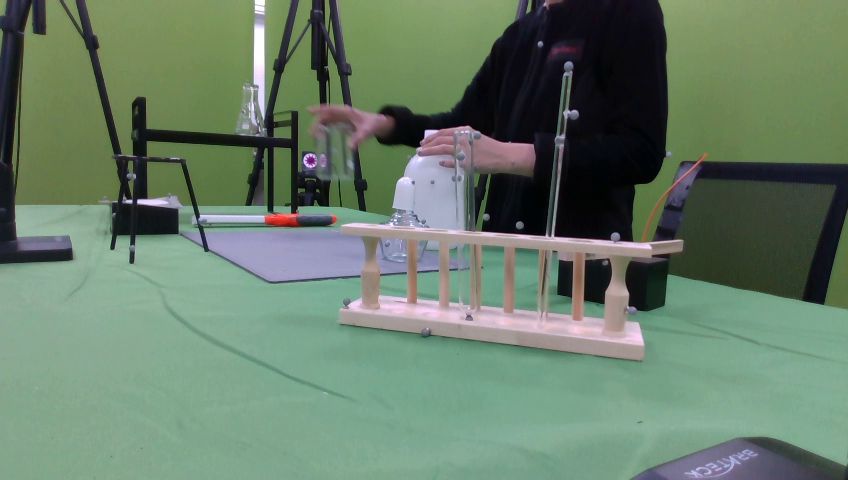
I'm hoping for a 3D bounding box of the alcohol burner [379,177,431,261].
[{"bbox_3d":[-0.027,-0.031,0.838,0.078,0.119,0.078,0,6,0],"label":"alcohol burner"}]

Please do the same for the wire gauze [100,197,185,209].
[{"bbox_3d":[-0.469,-0.062,1.008,0.126,0.011,0.121,-2,8,-25],"label":"wire gauze"}]

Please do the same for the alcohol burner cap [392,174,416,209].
[{"bbox_3d":[-0.025,-0.067,0.834,0.034,0.048,0.034,8,7,-1],"label":"alcohol burner cap"}]

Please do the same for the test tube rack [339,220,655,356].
[{"bbox_3d":[0.056,0.032,0.495,0.242,0.085,0.067,4,7,15],"label":"test tube rack"}]

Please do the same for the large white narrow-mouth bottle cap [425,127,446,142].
[{"bbox_3d":[0.018,-0.171,0.987,0.038,0.024,0.037,2,7,0],"label":"large white narrow-mouth bottle cap"}]

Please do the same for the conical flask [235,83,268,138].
[{"bbox_3d":[-0.401,-0.299,1.406,0.075,0.122,0.075,2,7,0],"label":"conical flask"}]

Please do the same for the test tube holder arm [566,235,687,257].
[{"bbox_3d":[0.215,0.006,0.630,0.179,0.015,0.013,-3,9,-31],"label":"test tube holder arm"}]

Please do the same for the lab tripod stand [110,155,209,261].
[{"bbox_3d":[-0.361,-0.046,0.806,0.148,0.131,0.148,2,5,0],"label":"lab tripod stand"}]

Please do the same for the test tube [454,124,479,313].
[{"bbox_3d":[0.034,-0.015,0.476,0.017,0.150,0.017,-2,9,1],"label":"test tube"}]

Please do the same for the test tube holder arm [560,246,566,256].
[{"bbox_3d":[0.173,0.007,0.612,0.088,0.015,0.010,-3,9,-29],"label":"test tube holder arm"}]

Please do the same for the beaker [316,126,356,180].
[{"bbox_3d":[-0.165,-0.164,1.142,0.074,0.100,0.084,-1,7,4],"label":"beaker"}]

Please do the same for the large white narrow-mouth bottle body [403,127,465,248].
[{"bbox_3d":[0.017,-0.088,0.998,0.102,0.194,0.102,2,8,0],"label":"large white narrow-mouth bottle body"}]

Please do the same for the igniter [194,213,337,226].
[{"bbox_3d":[-0.306,-0.041,1.197,0.278,0.025,0.057,-2,-2,-30],"label":"igniter"}]

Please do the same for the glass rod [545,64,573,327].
[{"bbox_3d":[0.101,-0.028,0.453,0.008,0.199,0.008,1,14,0],"label":"glass rod"}]
